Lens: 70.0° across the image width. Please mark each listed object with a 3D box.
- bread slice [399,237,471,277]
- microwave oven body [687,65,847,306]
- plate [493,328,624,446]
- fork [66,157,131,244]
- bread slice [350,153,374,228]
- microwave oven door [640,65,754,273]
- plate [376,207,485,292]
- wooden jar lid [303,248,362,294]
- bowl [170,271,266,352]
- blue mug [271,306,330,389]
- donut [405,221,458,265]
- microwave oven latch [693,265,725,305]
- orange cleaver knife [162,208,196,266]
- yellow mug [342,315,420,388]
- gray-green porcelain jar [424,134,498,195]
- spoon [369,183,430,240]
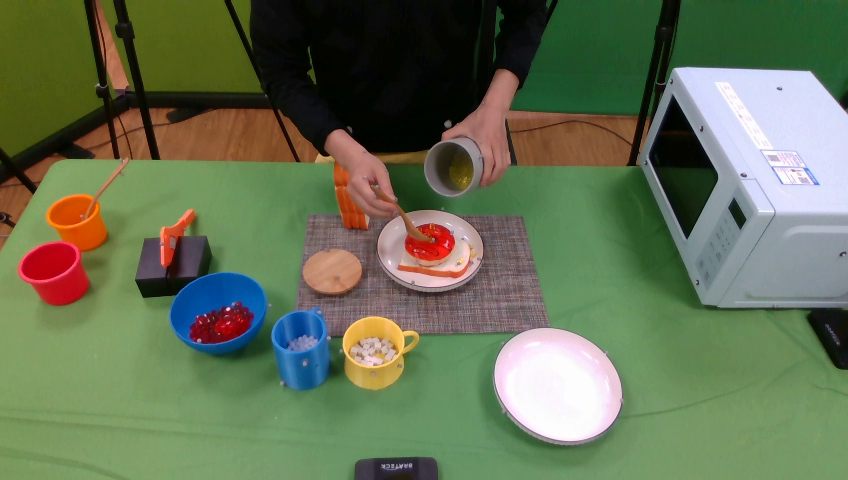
[{"bbox_3d":[0.025,0.024,1.160,0.131,0.019,0.104,7,47,7],"label":"bread slice"},{"bbox_3d":[0.669,-0.111,1.176,0.326,0.261,0.439,0,46,-3],"label":"microwave oven body"},{"bbox_3d":[0.213,0.236,0.974,0.208,0.039,0.206,2,46,-2],"label":"plate"},{"bbox_3d":[-0.608,-0.074,1.132,0.207,0.019,0.028,-52,49,10],"label":"fork"},{"bbox_3d":[-0.124,-0.104,1.207,0.018,0.135,0.106,-1,48,7],"label":"bread slice"},{"bbox_3d":[0.523,-0.147,1.193,0.039,0.245,0.353,0,47,-3],"label":"microwave oven door"},{"bbox_3d":[0.012,0.021,1.159,0.209,0.038,0.208,2,46,-2],"label":"plate"},{"bbox_3d":[-0.169,0.060,1.122,0.108,0.021,0.107,2,46,-2],"label":"wooden jar lid"},{"bbox_3d":[-0.333,0.132,1.006,0.151,0.077,0.150,2,46,-2],"label":"bowl"},{"bbox_3d":[-0.188,0.163,0.969,0.082,0.106,0.116,15,47,10],"label":"blue mug"},{"bbox_3d":[0.014,0.004,1.137,0.099,0.048,0.098,0,46,1],"label":"donut"},{"bbox_3d":[0.522,0.081,1.115,0.030,0.029,0.078,2,46,-1],"label":"microwave oven latch"},{"bbox_3d":[-0.454,-0.010,1.129,0.012,0.077,0.210,-1,17,-6],"label":"orange cleaver knife"},{"bbox_3d":[-0.068,0.177,0.990,0.131,0.064,0.099,-15,50,-19],"label":"yellow mug"},{"bbox_3d":[0.075,-0.145,1.144,0.105,0.106,0.126,27,25,21],"label":"gray-green porcelain jar"},{"bbox_3d":[-0.042,-0.046,1.023,0.041,0.195,0.021,19,71,36],"label":"spoon"}]
